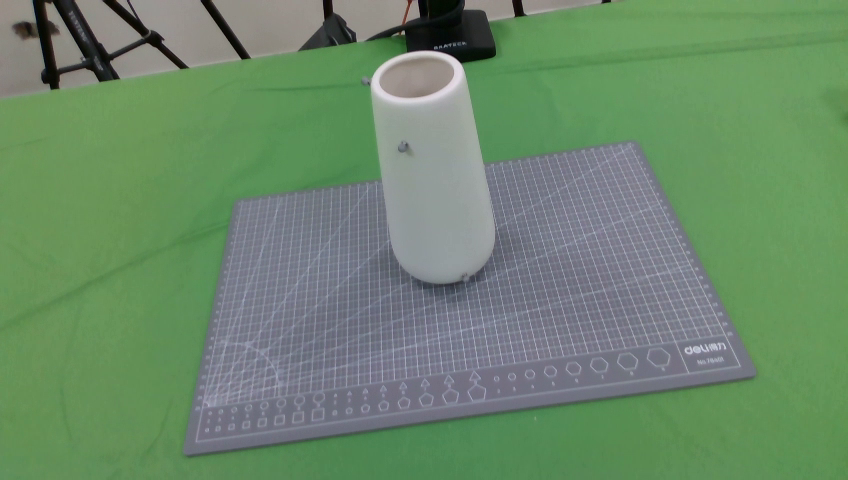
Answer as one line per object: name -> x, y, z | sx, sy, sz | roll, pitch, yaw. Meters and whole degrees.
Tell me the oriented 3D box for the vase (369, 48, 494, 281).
vase -> 0.007, -0.056, 0.512 | 0.098, 0.202, 0.097 | -5, 46, 6
